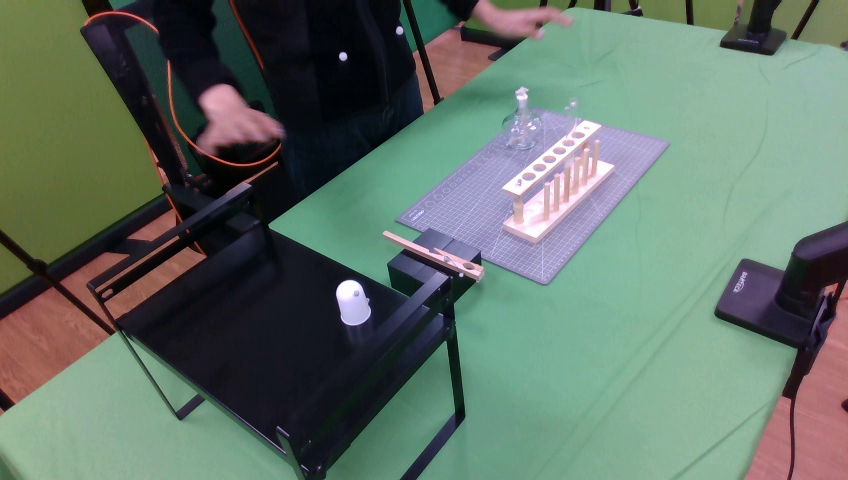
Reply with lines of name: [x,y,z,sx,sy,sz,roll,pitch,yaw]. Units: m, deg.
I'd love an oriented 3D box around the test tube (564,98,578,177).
test tube: [0.244,-0.166,1.004,0.017,0.151,0.017,-4,42,4]

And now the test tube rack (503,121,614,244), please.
test tube rack: [0.230,-0.101,1.006,0.066,0.085,0.243,26,50,34]

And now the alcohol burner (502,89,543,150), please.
alcohol burner: [0.186,-0.233,1.147,0.078,0.119,0.077,-5,42,5]

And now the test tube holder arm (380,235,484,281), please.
test tube holder arm: [0.008,0.024,0.877,0.177,0.015,0.013,18,51,29]

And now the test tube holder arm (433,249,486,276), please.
test tube holder arm: [0.048,0.033,0.858,0.087,0.015,0.010,19,51,30]

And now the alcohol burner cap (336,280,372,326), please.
alcohol burner cap: [-0.073,0.061,0.619,0.034,0.048,0.033,-5,42,5]
